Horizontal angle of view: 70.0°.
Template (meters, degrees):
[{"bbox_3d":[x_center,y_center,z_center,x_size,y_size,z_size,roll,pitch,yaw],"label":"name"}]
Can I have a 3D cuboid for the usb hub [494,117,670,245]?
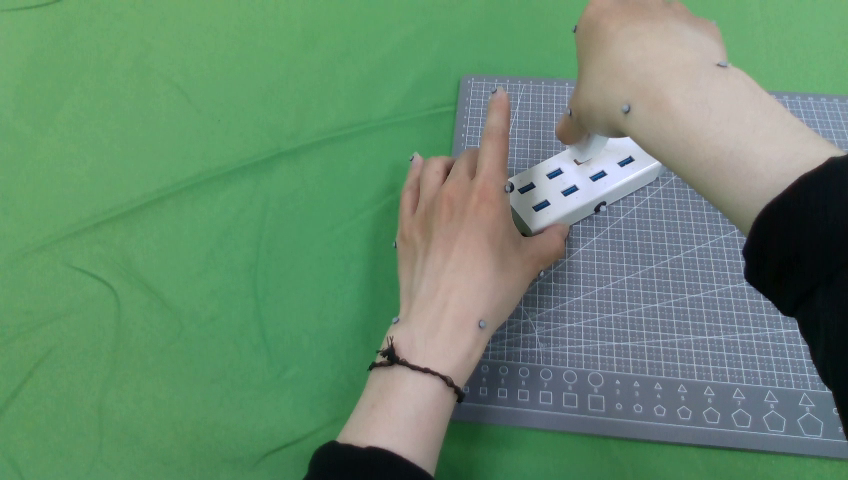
[{"bbox_3d":[0.117,-0.046,0.450,0.125,0.025,0.049,-27,62,-14],"label":"usb hub"}]

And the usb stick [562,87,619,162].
[{"bbox_3d":[0.115,-0.077,0.428,0.021,0.059,0.027,-26,65,-13],"label":"usb stick"}]
